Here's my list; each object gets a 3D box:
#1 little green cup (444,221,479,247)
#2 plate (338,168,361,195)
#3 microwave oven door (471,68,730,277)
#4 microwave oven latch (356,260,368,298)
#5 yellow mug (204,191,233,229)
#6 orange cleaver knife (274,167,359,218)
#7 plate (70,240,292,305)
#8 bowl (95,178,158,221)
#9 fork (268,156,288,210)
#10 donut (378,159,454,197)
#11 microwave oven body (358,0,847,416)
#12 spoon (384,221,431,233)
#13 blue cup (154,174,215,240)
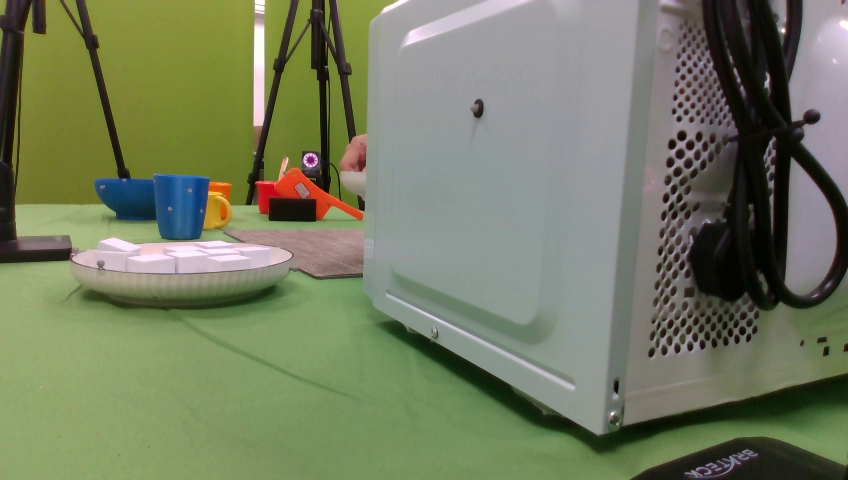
[{"bbox_3d":[0.064,-0.011,1.035,0.061,0.038,0.061,1,9,0],"label":"little green cup"},{"bbox_3d":[-0.006,-0.066,0.774,0.209,0.038,0.209,4,6,0],"label":"plate"},{"bbox_3d":[0.213,-0.096,0.820,0.039,0.243,0.354,-5,11,-45],"label":"microwave oven door"},{"bbox_3d":[-0.019,0.033,0.529,0.079,0.029,0.030,0,7,-24],"label":"microwave oven latch"},{"bbox_3d":[-0.415,-0.057,1.132,0.130,0.064,0.100,6,8,16],"label":"yellow mug"},{"bbox_3d":[-0.238,-0.090,1.381,0.212,0.077,0.012,31,0,-19],"label":"orange cleaver knife"},{"bbox_3d":[-0.242,0.031,0.618,0.208,0.039,0.207,2,8,0],"label":"plate"},{"bbox_3d":[-0.576,-0.081,1.217,0.151,0.077,0.151,3,8,0],"label":"bowl"},{"bbox_3d":[-0.360,-0.144,1.508,0.028,0.018,0.207,1,49,0],"label":"fork"},{"bbox_3d":[-0.010,-0.078,0.774,0.099,0.048,0.099,7,7,-1],"label":"donut"},{"bbox_3d":[0.211,-0.047,0.474,0.444,0.260,0.324,-1,7,-28],"label":"microwave oven body"},{"bbox_3d":[-0.024,-0.029,1.188,0.041,0.021,0.194,-12,0,23],"label":"spoon"},{"bbox_3d":[-0.391,-0.053,0.978,0.093,0.100,0.092,4,6,0],"label":"blue cup"}]
